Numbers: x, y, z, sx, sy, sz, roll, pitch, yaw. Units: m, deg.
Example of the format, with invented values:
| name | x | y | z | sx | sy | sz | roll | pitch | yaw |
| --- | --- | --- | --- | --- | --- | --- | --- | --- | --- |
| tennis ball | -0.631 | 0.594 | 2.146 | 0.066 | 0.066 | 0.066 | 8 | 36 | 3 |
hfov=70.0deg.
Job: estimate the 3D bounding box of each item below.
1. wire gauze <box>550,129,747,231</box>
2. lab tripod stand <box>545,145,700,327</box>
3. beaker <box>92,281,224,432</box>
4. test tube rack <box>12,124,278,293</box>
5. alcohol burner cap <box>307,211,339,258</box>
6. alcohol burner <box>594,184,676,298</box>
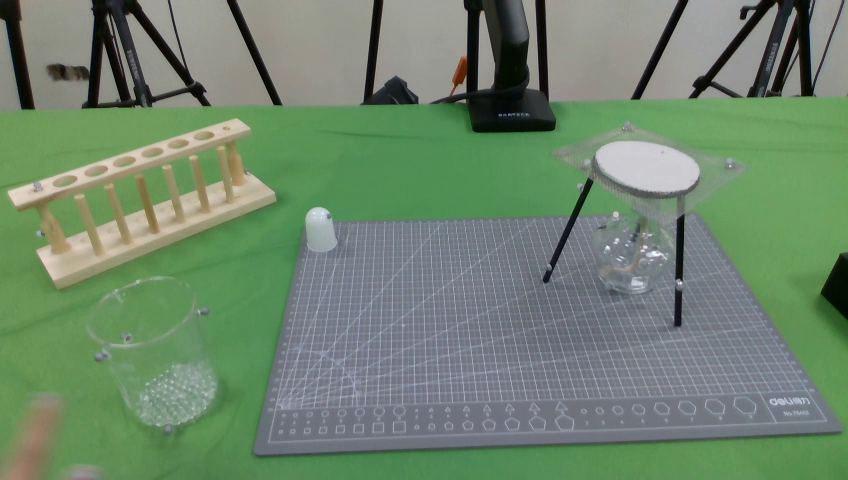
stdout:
| name | x | y | z | sx | sy | sz | roll | pitch | yaw |
| --- | --- | --- | --- | --- | --- | --- | --- | --- | --- |
| wire gauze | 0.191 | -0.061 | 0.519 | 0.121 | 0.011 | 0.124 | -25 | 45 | -30 |
| lab tripod stand | 0.196 | -0.008 | 0.561 | 0.148 | 0.132 | 0.147 | 1 | 37 | -1 |
| beaker | -0.201 | 0.091 | 0.466 | 0.083 | 0.101 | 0.074 | 25 | 44 | 31 |
| test tube rack | -0.287 | -0.042 | 0.655 | 0.242 | 0.086 | 0.066 | -27 | 44 | -31 |
| alcohol burner cap | -0.108 | -0.009 | 0.641 | 0.034 | 0.048 | 0.033 | 0 | 37 | 0 |
| alcohol burner | 0.203 | -0.004 | 0.572 | 0.078 | 0.120 | 0.077 | 0 | 39 | 0 |
